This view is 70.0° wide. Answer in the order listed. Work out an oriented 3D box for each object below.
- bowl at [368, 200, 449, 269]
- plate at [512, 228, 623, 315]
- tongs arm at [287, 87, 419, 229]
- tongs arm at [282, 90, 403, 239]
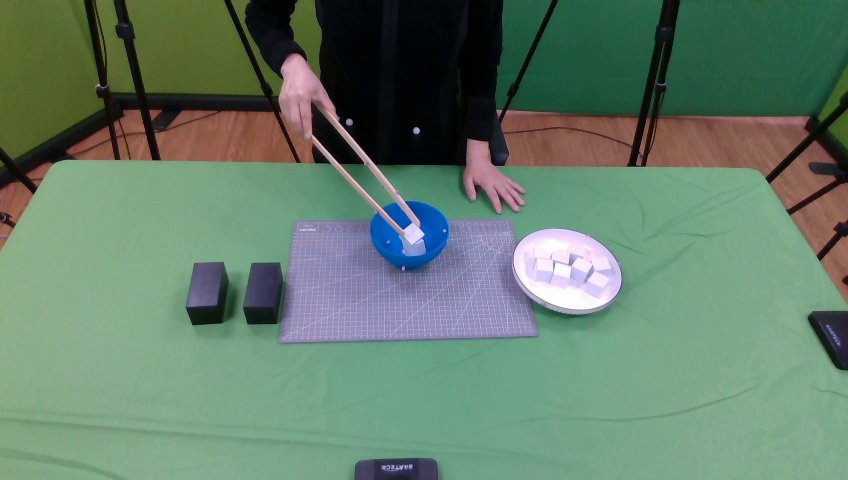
[{"bbox_3d":[-0.031,0.002,1.151,0.151,0.077,0.150,2,46,-2],"label":"bowl"},{"bbox_3d":[0.268,0.063,1.146,0.208,0.039,0.206,3,46,-3],"label":"plate"},{"bbox_3d":[-0.139,-0.157,1.131,0.051,0.026,0.383,-32,69,-15],"label":"tongs arm"},{"bbox_3d":[-0.157,-0.144,1.124,0.028,0.028,0.386,-37,71,-13],"label":"tongs arm"}]
